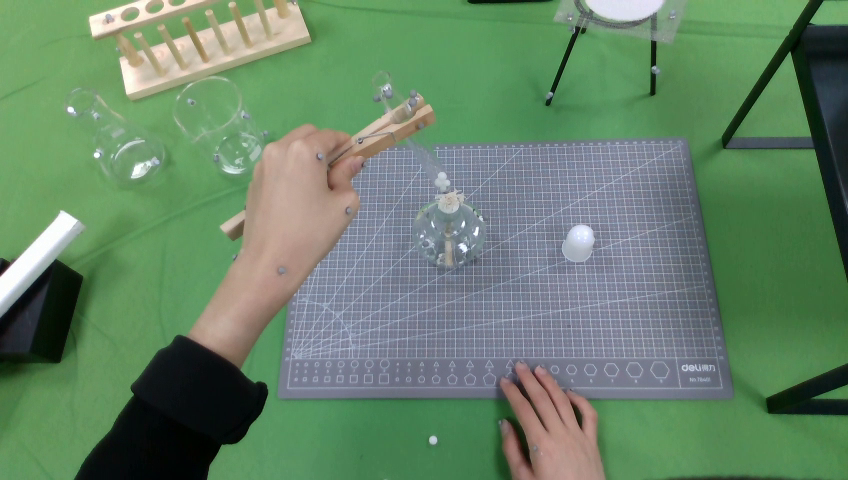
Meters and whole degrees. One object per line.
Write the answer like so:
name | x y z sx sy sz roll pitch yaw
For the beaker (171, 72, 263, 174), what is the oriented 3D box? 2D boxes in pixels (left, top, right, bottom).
beaker | -0.231 -0.126 0.689 0.074 0.101 0.083 14 68 10

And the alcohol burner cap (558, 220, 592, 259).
alcohol burner cap | 0.161 -0.003 0.641 0.034 0.048 0.033 -1 66 3

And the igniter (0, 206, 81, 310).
igniter | -0.451 0.079 0.601 0.057 0.025 0.275 26 70 24

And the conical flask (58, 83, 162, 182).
conical flask | -0.357 -0.125 0.683 0.075 0.123 0.075 -1 66 4

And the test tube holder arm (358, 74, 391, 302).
test tube holder arm | -0.039 -0.040 0.476 0.015 0.013 0.178 4 90 -12

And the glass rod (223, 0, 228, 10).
glass rod | -0.259 -0.327 0.711 0.008 0.201 0.008 -5 60 8

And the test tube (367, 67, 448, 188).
test tube | -0.009 -0.083 0.484 0.017 0.152 0.017 -9 62 17

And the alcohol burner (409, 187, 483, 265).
alcohol burner | 0.022 -0.020 0.617 0.078 0.120 0.077 -1 65 1

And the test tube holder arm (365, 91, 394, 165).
test tube holder arm | -0.035 -0.080 0.466 0.015 0.088 0.010 6 60 -8

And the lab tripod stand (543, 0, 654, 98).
lab tripod stand | 0.204 -0.235 0.690 0.148 0.132 0.147 -1 65 2

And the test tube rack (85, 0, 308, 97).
test tube rack | -0.279 -0.268 0.760 0.242 0.086 0.066 -20 67 -5

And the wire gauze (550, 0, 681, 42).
wire gauze | 0.207 -0.264 0.629 0.121 0.011 0.124 20 70 10
